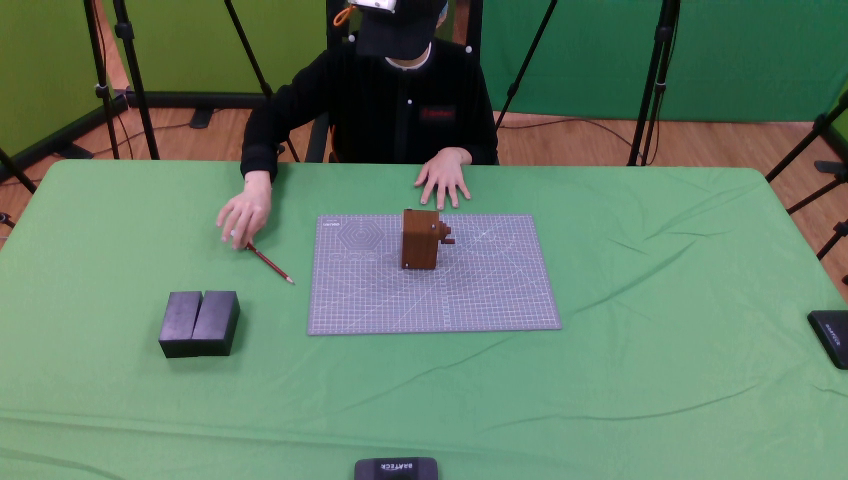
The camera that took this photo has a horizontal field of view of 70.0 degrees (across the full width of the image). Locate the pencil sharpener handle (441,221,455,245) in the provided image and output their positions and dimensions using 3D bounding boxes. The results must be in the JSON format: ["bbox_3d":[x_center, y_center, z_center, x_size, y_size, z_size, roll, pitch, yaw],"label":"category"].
[{"bbox_3d":[0.046,-0.011,1.130,0.030,0.068,0.036,2,62,-2],"label":"pencil sharpener handle"}]

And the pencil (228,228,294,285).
[{"bbox_3d":[-0.311,0.031,1.155,0.193,0.012,0.012,36,54,24],"label":"pencil"}]

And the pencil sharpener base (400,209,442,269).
[{"bbox_3d":[-0.006,0.000,1.134,0.077,0.107,0.061,2,46,-2],"label":"pencil sharpener base"}]
